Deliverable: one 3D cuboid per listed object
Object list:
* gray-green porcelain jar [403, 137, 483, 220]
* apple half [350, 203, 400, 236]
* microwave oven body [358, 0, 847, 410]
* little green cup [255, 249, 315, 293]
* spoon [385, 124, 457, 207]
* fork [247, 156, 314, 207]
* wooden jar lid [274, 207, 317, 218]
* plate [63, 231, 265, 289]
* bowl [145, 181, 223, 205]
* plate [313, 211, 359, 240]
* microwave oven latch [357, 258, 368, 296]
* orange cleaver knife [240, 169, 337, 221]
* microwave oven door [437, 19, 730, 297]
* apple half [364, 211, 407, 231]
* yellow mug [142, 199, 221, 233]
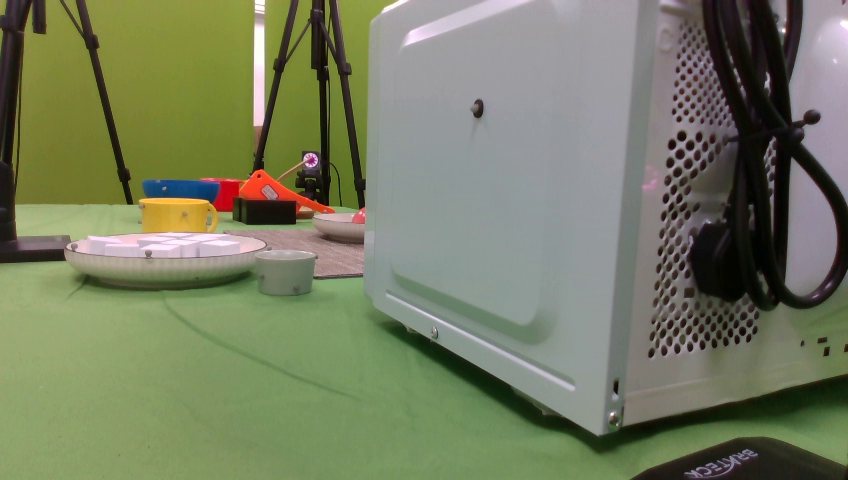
[{"bbox_3d":[0.039,-0.109,1.119,0.106,0.126,0.106,-34,13,9],"label":"gray-green porcelain jar"},{"bbox_3d":[-0.081,-0.036,1.024,0.081,0.053,0.074,-2,11,-34],"label":"apple half"},{"bbox_3d":[0.210,-0.051,0.471,0.444,0.260,0.324,-1,7,-28],"label":"microwave oven body"},{"bbox_3d":[-0.144,0.031,0.627,0.061,0.038,0.061,2,6,0],"label":"little green cup"},{"bbox_3d":[-0.007,-0.138,1.114,0.042,0.194,0.021,-42,8,-36],"label":"spoon"},{"bbox_3d":[-0.360,-0.147,1.523,0.207,0.019,0.028,-43,16,-7],"label":"fork"},{"bbox_3d":[-0.303,-0.065,1.409,0.108,0.020,0.108,3,9,0],"label":"wooden jar lid"},{"bbox_3d":[-0.288,0.021,0.687,0.208,0.039,0.207,2,8,0],"label":"plate"},{"bbox_3d":[-0.499,-0.081,1.261,0.151,0.077,0.151,2,8,0],"label":"bowl"},{"bbox_3d":[-0.090,-0.026,1.063,0.209,0.038,0.209,2,7,0],"label":"plate"},{"bbox_3d":[-0.019,0.031,0.528,0.079,0.029,0.030,-1,7,-25],"label":"microwave oven latch"},{"bbox_3d":[-0.287,-0.081,1.298,0.212,0.077,0.012,25,-3,-31],"label":"orange cleaver knife"},{"bbox_3d":[0.181,-0.076,0.618,0.358,0.243,0.039,-2,9,-28],"label":"microwave oven door"},{"bbox_3d":[-0.068,-0.037,1.104,0.081,0.033,0.081,-1,9,1],"label":"apple half"},{"bbox_3d":[-0.373,-0.030,0.948,0.099,0.064,0.131,6,7,30],"label":"yellow mug"}]
